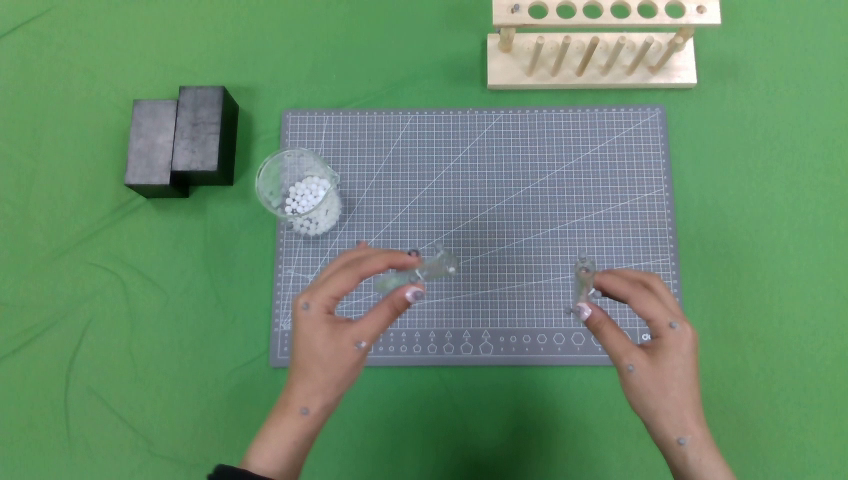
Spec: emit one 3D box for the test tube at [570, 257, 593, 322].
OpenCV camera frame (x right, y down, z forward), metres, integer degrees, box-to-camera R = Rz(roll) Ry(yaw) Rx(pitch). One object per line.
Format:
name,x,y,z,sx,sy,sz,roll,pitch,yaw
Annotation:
test tube,0.128,0.044,0.494,0.017,0.152,0.017,-4,69,12

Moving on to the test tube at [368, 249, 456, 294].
test tube,-0.014,0.026,0.457,0.017,0.150,0.017,5,78,-22

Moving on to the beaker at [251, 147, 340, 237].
beaker,-0.129,-0.047,0.646,0.084,0.100,0.073,-8,78,-1

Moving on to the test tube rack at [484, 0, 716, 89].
test tube rack,0.191,-0.222,0.687,0.242,0.085,0.066,0,78,1
